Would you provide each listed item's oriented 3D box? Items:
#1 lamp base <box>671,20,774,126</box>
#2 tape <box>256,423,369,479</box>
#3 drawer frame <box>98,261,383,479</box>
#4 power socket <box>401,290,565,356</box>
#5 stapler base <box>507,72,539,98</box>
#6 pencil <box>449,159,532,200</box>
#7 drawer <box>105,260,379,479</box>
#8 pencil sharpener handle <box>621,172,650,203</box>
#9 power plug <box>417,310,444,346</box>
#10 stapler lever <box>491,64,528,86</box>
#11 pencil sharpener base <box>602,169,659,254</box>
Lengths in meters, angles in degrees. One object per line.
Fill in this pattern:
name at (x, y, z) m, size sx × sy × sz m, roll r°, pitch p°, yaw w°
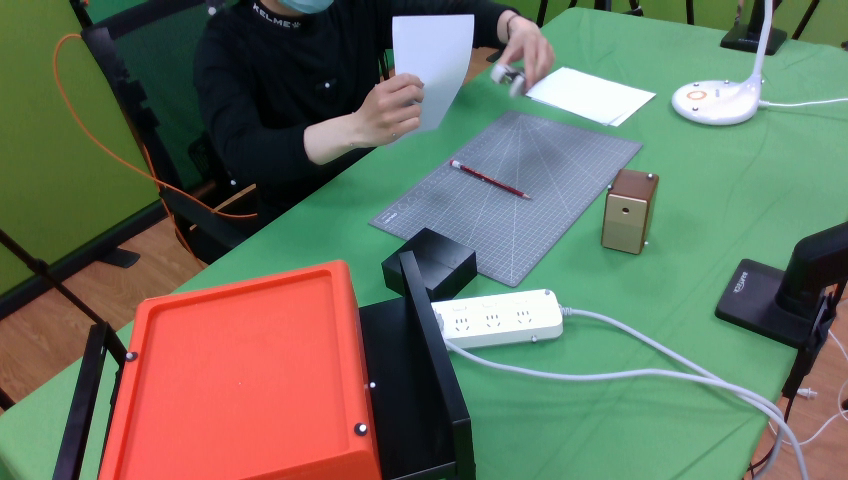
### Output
lamp base at (0.581, -0.332, 1.154) m, size 0.179 × 0.181 × 0.160 m, roll 2°, pitch 41°, yaw 7°
tape at (-0.121, 0.263, 0.660) m, size 0.117 × 0.053 × 0.116 m, roll -4°, pitch 40°, yaw 4°
drawer frame at (-0.148, 0.129, 0.519) m, size 0.202 × 0.083 × 0.212 m, roll -12°, pitch 41°, yaw -6°
power socket at (0.080, 0.112, 0.822) m, size 0.227 × 0.033 × 0.072 m, roll -6°, pitch 41°, yaw 0°
stapler base at (0.173, -0.286, 1.092) m, size 0.024 × 0.041 × 0.131 m, roll 42°, pitch 30°, yaw 6°
pencil at (0.117, -0.109, 1.091) m, size 0.192 × 0.012 × 0.012 m, roll 31°, pitch 53°, yaw 34°
drawer at (-0.150, 0.127, 0.524) m, size 0.195 × 0.073 × 0.210 m, roll -11°, pitch 41°, yaw -5°
pencil sharpener handle at (0.328, -0.087, 0.940) m, size 0.036 × 0.068 × 0.030 m, roll 30°, pitch 49°, yaw 7°
power plug at (0.006, 0.122, 0.785) m, size 0.035 × 0.053 × 0.072 m, roll -1°, pitch 40°, yaw 8°
stapler lever at (0.156, -0.301, 1.095) m, size 0.040 × 0.027 × 0.118 m, roll 41°, pitch 30°, yaw 5°
pencil sharpener base at (0.312, -0.044, 0.914) m, size 0.061 × 0.107 × 0.077 m, roll 14°, pitch 45°, yaw 24°
